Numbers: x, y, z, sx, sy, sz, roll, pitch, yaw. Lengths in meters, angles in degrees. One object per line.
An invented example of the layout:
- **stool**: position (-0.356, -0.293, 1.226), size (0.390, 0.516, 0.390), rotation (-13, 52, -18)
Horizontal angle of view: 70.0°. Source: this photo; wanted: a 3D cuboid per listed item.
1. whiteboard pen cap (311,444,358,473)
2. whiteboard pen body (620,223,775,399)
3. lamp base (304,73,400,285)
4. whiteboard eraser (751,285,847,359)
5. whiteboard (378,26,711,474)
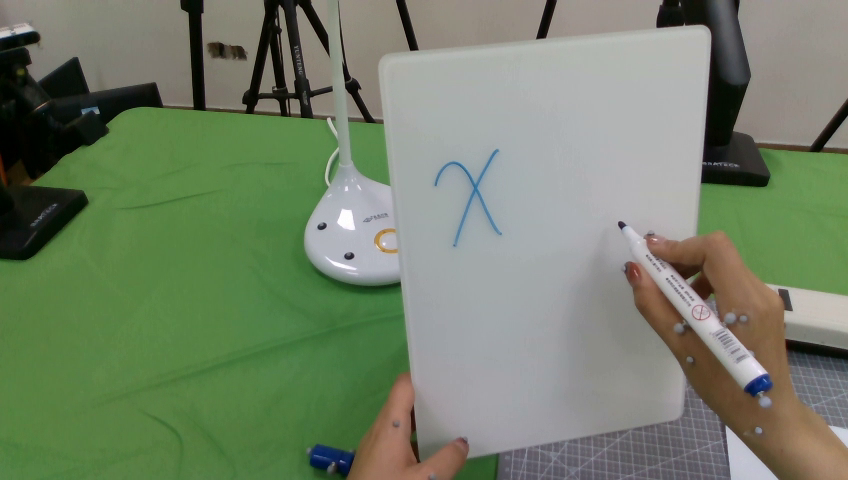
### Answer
- **whiteboard pen cap**: position (-0.068, 0.167, 0.464), size (0.033, 0.018, 0.018), rotation (7, 39, 12)
- **whiteboard pen body**: position (0.158, 0.036, 0.367), size (0.017, 0.017, 0.139), rotation (-13, 47, -15)
- **lamp base**: position (-0.062, -0.072, 0.633), size (0.161, 0.182, 0.177), rotation (-26, 42, -28)
- **whiteboard eraser**: position (0.358, 0.076, 0.544), size (0.112, 0.042, 0.055), rotation (10, 41, 14)
- **whiteboard**: position (0.082, -0.001, 0.486), size (0.217, 0.307, 0.143), rotation (-7, 20, -6)
